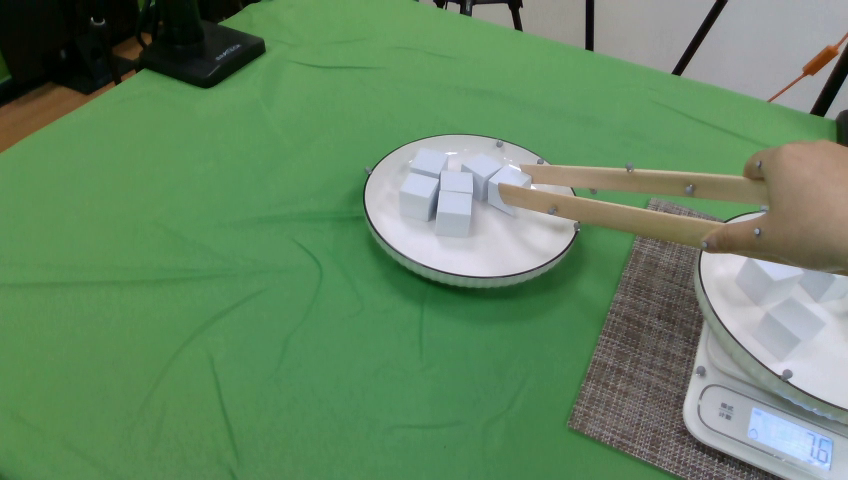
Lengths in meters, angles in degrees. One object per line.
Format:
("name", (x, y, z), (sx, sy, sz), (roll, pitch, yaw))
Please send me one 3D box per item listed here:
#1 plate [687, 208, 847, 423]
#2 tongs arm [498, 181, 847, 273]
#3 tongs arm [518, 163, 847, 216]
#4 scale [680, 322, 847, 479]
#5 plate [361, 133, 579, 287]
("plate", (0.311, 0.058, 0.481), (0.208, 0.039, 0.205), (4, 46, -3))
("tongs arm", (0.202, -0.013, 0.442), (0.028, 0.028, 0.384), (-40, 34, -29))
("tongs arm", (0.218, -0.028, 0.452), (0.381, 0.027, 0.050), (11, 46, 44))
("scale", (0.297, 0.099, 0.485), (0.148, 0.032, 0.200), (22, 48, 16))
("plate", (0.044, -0.029, 0.588), (0.209, 0.038, 0.207), (3, 45, -3))
